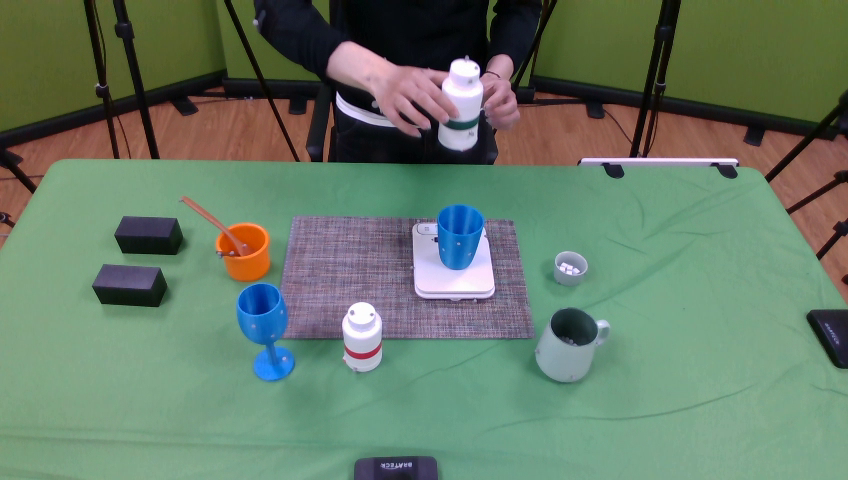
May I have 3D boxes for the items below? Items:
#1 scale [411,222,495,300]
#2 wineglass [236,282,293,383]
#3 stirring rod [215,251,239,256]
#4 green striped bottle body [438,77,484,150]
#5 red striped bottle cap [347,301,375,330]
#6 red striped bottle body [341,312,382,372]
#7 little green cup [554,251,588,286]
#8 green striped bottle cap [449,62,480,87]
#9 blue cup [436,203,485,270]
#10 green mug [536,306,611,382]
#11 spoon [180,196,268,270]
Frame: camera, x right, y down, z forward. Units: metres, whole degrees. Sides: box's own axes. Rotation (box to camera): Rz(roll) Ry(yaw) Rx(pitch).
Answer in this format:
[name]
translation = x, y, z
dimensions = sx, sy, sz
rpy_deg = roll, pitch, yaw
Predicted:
[scale]
translation = 0.052, 0.031, 1.158
dimensions = 0.149, 0.032, 0.199
rpy_deg = 1, 46, -4
[wineglass]
translation = -0.243, 0.143, 0.934
dimensions = 0.074, 0.173, 0.073
rpy_deg = 2, 46, -2
[stirring rod]
translation = -0.340, 0.024, 1.059
dimensions = 0.014, 0.176, 0.006
rpy_deg = 16, 86, -6
[green striped bottle body]
translation = 0.056, -0.203, 0.927
dimensions = 0.063, 0.120, 0.063
rpy_deg = 2, 45, -2
[red striped bottle cap]
translation = -0.097, 0.116, 0.934
dimensions = 0.044, 0.018, 0.044
rpy_deg = 2, 49, -3
[red striped bottle body]
translation = -0.100, 0.154, 0.972
dimensions = 0.063, 0.120, 0.062
rpy_deg = 2, 46, -1
[little green cup]
translation = 0.277, 0.055, 1.152
dimensions = 0.061, 0.039, 0.061
rpy_deg = 1, 46, -1
[green striped bottle cap]
translation = 0.060, -0.242, 0.887
dimensions = 0.044, 0.020, 0.044
rpy_deg = 2, 46, -1
[blue cup]
translation = 0.061, -0.001, 1.099
dimensions = 0.093, 0.101, 0.092
rpy_deg = 2, 44, -2
[green mug]
translation = 0.250, 0.167, 0.996
dimensions = 0.125, 0.105, 0.092
rpy_deg = -15, 48, -18
[spoon]
translation = -0.360, -0.014, 1.095
dimensions = 0.021, 0.194, 0.041
rpy_deg = -27, 26, 31
